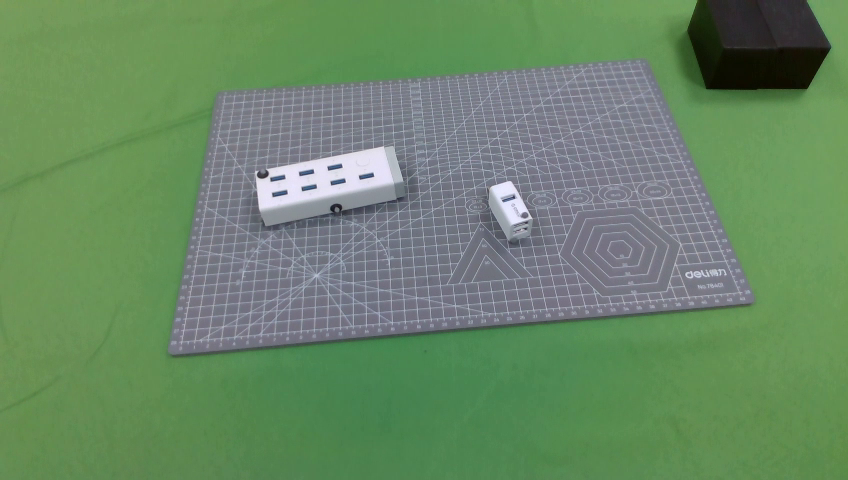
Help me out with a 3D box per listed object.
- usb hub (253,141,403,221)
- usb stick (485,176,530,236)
[{"bbox_3d":[-0.085,-0.054,0.534,0.125,0.025,0.049,-12,55,-7],"label":"usb hub"},{"bbox_3d":[0.068,-0.034,0.513,0.021,0.027,0.058,-18,53,-8],"label":"usb stick"}]
